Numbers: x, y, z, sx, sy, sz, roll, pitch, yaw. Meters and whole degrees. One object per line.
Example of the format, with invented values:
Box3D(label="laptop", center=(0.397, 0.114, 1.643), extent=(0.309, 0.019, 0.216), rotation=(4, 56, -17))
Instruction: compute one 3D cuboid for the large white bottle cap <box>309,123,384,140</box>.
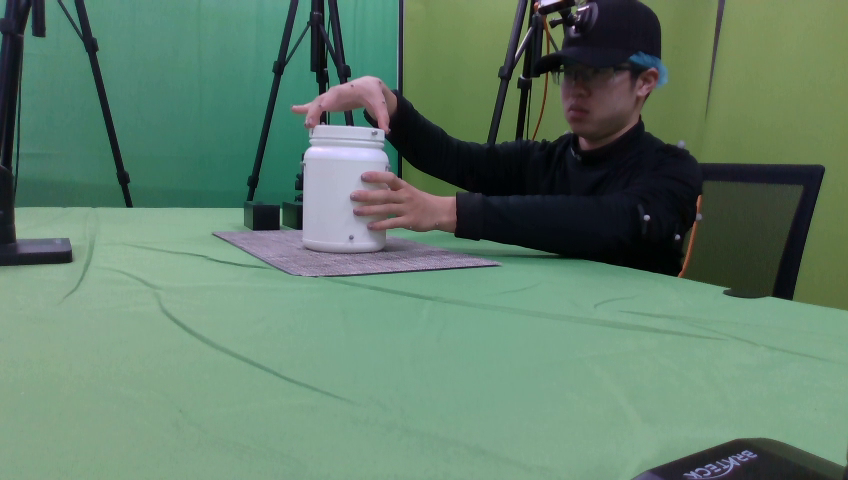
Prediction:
Box3D(label="large white bottle cap", center=(-0.117, -0.165, 0.926), extent=(0.115, 0.018, 0.115), rotation=(3, 7, 0))

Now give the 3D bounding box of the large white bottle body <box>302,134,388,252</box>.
Box3D(label="large white bottle body", center=(-0.122, -0.080, 0.937), extent=(0.131, 0.184, 0.130), rotation=(2, 7, 0))
